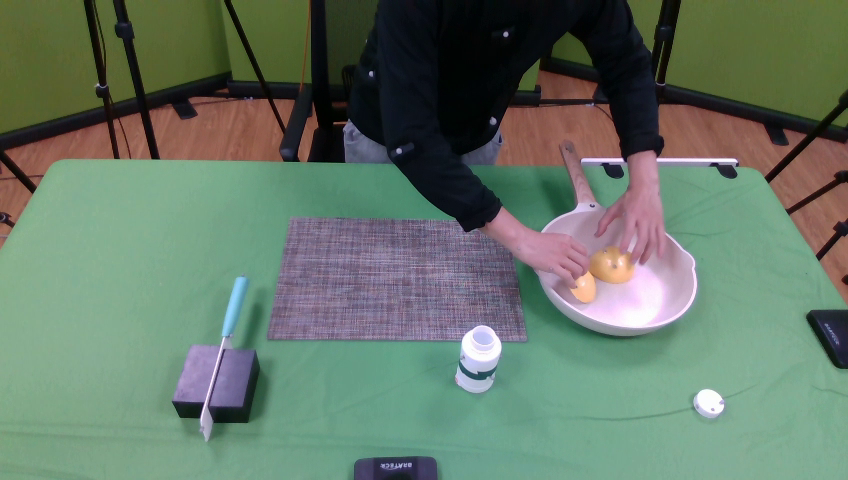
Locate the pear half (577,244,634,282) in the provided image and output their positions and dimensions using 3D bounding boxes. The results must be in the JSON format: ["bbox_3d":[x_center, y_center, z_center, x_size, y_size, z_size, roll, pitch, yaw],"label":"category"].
[{"bbox_3d":[0.347,0.037,1.166,0.110,0.056,0.076,1,41,4],"label":"pear half"}]

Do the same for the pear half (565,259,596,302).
[{"bbox_3d":[0.293,0.069,1.118,0.071,0.031,0.087,5,63,-46],"label":"pear half"}]

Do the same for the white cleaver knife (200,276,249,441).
[{"bbox_3d":[-0.321,0.177,0.972,0.021,0.066,0.284,7,48,-5],"label":"white cleaver knife"}]

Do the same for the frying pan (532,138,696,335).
[{"bbox_3d":[0.336,-0.024,1.189,0.307,0.103,0.484,-2,55,-7],"label":"frying pan"}]

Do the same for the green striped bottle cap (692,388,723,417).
[{"bbox_3d":[0.460,0.263,0.984,0.044,0.020,0.044,3,46,-3],"label":"green striped bottle cap"}]

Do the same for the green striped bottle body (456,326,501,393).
[{"bbox_3d":[0.086,0.185,0.959,0.063,0.120,0.063,2,46,-2],"label":"green striped bottle body"}]
